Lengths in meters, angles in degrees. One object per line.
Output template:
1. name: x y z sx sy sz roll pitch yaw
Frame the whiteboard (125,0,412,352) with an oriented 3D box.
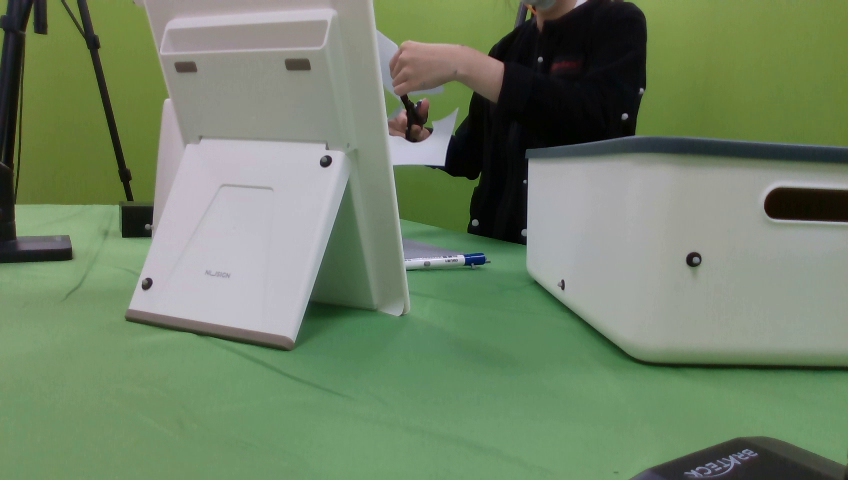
1. whiteboard: -0.151 -0.049 0.472 0.216 0.305 0.144 6 27 24

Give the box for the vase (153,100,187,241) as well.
1. vase: -0.278 -0.066 0.736 0.098 0.200 0.098 2 9 0

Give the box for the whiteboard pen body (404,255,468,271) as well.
1. whiteboard pen body: 0.013 0.030 0.792 0.141 0.017 0.017 -3 9 -24

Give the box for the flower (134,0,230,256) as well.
1. flower: -0.282 -0.147 0.713 0.038 0.362 0.044 -23 24 -31

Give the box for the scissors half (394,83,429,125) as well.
1. scissors half: -0.022 -0.245 1.075 0.013 0.040 0.176 15 -1 19

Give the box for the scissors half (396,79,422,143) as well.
1. scissors half: -0.030 -0.226 1.071 0.012 0.040 0.175 20 -22 20

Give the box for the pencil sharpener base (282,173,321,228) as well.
1. pencil sharpener base: -0.247 -0.080 1.212 0.061 0.107 0.076 -2 5 -28

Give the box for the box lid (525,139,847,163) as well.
1. box lid: 0.261 -0.078 0.580 0.264 0.015 0.371 2 7 -4

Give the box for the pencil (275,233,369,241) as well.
1. pencil: -0.169 -0.006 1.036 0.195 0.012 0.012 -2 9 -45

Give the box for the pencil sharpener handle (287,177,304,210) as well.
1. pencil sharpener handle: -0.269 -0.096 1.257 0.036 0.067 0.030 -8 8 -27

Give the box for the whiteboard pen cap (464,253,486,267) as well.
1. whiteboard pen cap: 0.066 0.027 0.818 0.033 0.018 0.018 -5 10 -24

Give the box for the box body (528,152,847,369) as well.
1. box body: 0.257 -0.005 0.591 0.254 0.160 0.363 2 7 -4

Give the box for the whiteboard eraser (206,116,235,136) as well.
1. whiteboard eraser: -0.450 -0.252 1.335 0.056 0.042 0.112 1 7 -22
